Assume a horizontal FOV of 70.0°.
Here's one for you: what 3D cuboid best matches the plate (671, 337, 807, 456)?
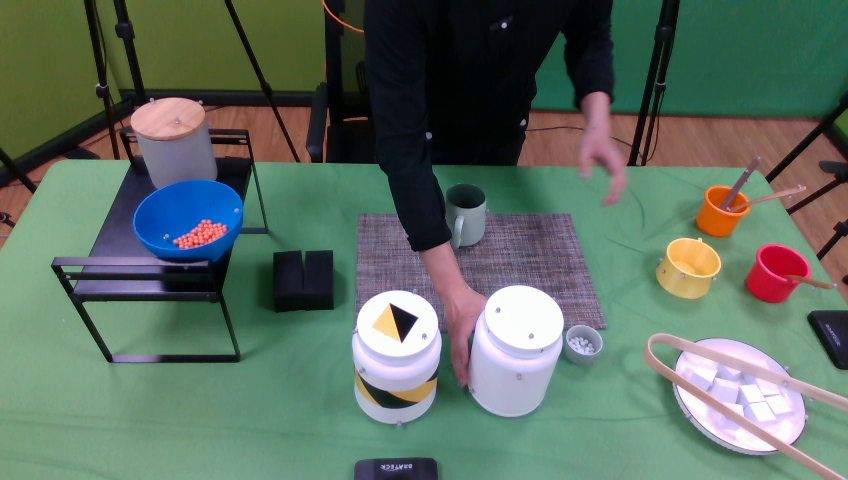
[{"bbox_3d":[0.503,0.254,0.984,0.208,0.039,0.206,2,46,-2],"label":"plate"}]

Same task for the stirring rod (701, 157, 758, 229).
[{"bbox_3d":[0.634,-0.096,1.257,0.014,0.006,0.176,38,97,29],"label":"stirring rod"}]

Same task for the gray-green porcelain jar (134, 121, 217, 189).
[{"bbox_3d":[-0.397,-0.141,0.980,0.106,0.127,0.105,2,47,-2],"label":"gray-green porcelain jar"}]

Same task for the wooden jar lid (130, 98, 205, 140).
[{"bbox_3d":[-0.393,-0.183,0.934,0.108,0.021,0.107,2,43,-2],"label":"wooden jar lid"}]

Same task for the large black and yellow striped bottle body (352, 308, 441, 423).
[{"bbox_3d":[-0.042,0.178,0.913,0.131,0.185,0.130,2,46,-2],"label":"large black and yellow striped bottle body"}]

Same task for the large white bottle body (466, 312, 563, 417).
[{"bbox_3d":[0.138,0.172,0.931,0.131,0.185,0.130,3,46,-3],"label":"large white bottle body"}]

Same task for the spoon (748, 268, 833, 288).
[{"bbox_3d":[0.660,0.068,1.097,0.041,0.193,0.021,-4,91,-6],"label":"spoon"}]

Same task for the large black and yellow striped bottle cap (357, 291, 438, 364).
[{"bbox_3d":[-0.037,0.121,0.851,0.115,0.019,0.114,1,46,-1],"label":"large black and yellow striped bottle cap"}]

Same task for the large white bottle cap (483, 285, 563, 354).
[{"bbox_3d":[0.142,0.112,0.871,0.115,0.018,0.114,3,46,-2],"label":"large white bottle cap"}]

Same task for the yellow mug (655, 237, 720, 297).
[{"bbox_3d":[0.509,0.041,1.167,0.099,0.064,0.130,24,48,18],"label":"yellow mug"}]

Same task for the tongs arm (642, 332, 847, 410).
[{"bbox_3d":[0.546,0.227,0.968,0.384,0.026,0.050,22,52,13],"label":"tongs arm"}]

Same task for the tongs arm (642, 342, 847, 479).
[{"bbox_3d":[0.504,0.279,0.918,0.386,0.028,0.028,33,59,22],"label":"tongs arm"}]

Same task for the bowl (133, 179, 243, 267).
[{"bbox_3d":[-0.339,-0.013,0.895,0.151,0.077,0.150,2,46,-2],"label":"bowl"}]

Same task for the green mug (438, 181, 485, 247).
[{"bbox_3d":[0.071,-0.039,1.177,0.092,0.105,0.124,12,47,7],"label":"green mug"}]

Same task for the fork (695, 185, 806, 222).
[{"bbox_3d":[0.658,-0.074,1.229,0.207,0.019,0.028,-23,36,37],"label":"fork"}]

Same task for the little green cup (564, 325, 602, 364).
[{"bbox_3d":[0.269,0.180,1.036,0.061,0.039,0.061,2,45,-1],"label":"little green cup"}]
